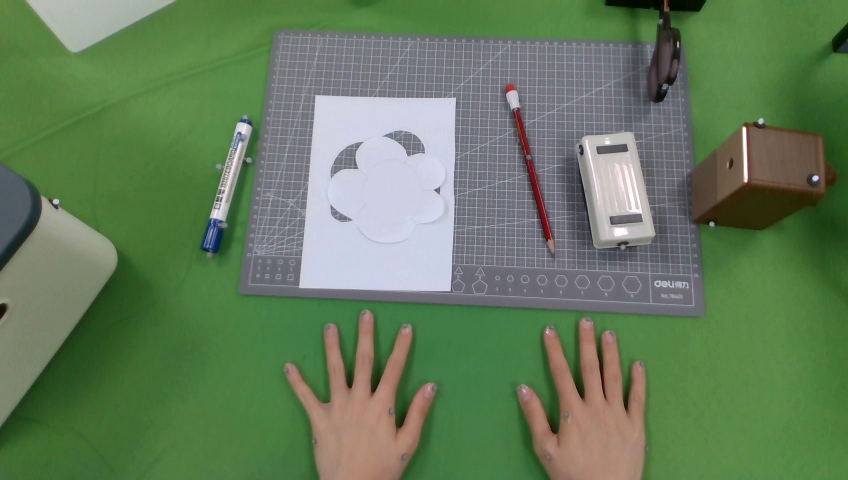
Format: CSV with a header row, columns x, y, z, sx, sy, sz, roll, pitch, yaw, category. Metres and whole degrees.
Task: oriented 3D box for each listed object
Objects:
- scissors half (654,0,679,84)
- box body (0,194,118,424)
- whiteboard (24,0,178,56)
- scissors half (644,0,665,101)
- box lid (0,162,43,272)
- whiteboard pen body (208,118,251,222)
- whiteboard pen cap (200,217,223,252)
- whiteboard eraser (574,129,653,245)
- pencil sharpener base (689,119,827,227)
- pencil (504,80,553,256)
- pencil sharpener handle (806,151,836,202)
x,y,z,sx,sy,sz,roll,pitch,yaw,category
0.245,-0.234,0.616,0.013,0.040,0.174,8,65,-1,scissors half
-0.502,0.008,0.531,0.363,0.161,0.253,29,77,9,box body
-0.366,-0.389,0.600,0.217,0.308,0.142,-31,56,-7,whiteboard
0.245,-0.229,0.636,0.013,0.040,0.174,7,83,4,scissors half
-0.505,-0.014,0.460,0.370,0.015,0.262,29,76,9,box lid
-0.201,-0.061,0.619,0.017,0.017,0.140,9,72,4,whiteboard pen body
-0.209,-0.006,0.601,0.018,0.018,0.033,8,69,4,whiteboard pen cap
0.183,-0.051,0.593,0.055,0.042,0.112,-6,74,1,whiteboard eraser
0.304,-0.058,0.560,0.077,0.107,0.061,6,73,0,pencil sharpener base
0.107,-0.076,0.619,0.012,0.012,0.193,-11,76,-2,pencil
0.355,-0.054,0.548,0.030,0.068,0.035,6,67,0,pencil sharpener handle
